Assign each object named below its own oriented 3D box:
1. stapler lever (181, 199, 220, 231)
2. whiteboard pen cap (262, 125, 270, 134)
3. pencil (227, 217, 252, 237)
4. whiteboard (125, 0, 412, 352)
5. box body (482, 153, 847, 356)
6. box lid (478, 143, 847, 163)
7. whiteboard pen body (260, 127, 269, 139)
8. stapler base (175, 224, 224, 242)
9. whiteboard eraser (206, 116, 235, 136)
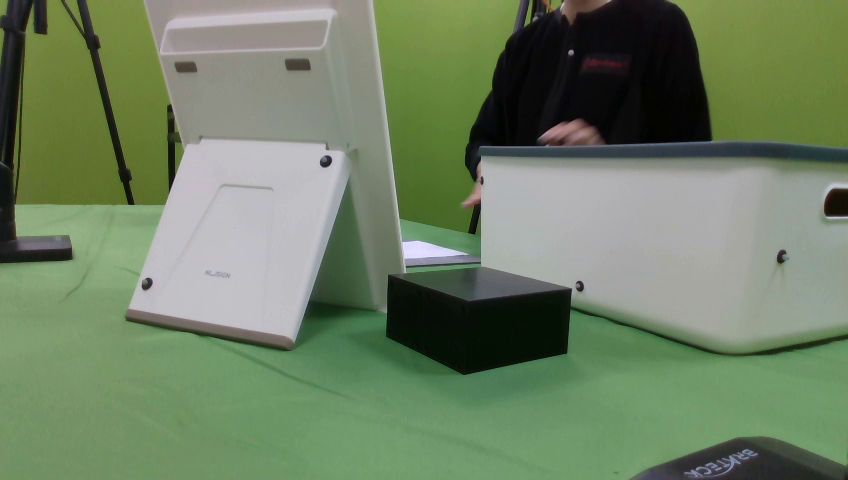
[{"bbox_3d":[-0.346,-0.040,0.942,0.027,0.040,0.118,1,8,-3],"label":"stapler lever"},{"bbox_3d":[-0.349,-0.244,1.337,0.018,0.018,0.033,0,2,-17],"label":"whiteboard pen cap"},{"bbox_3d":[-0.333,-0.024,1.092,0.012,0.012,0.193,2,10,-5],"label":"pencil"},{"bbox_3d":[-0.151,-0.049,0.472,0.216,0.305,0.144,6,27,24],"label":"whiteboard"},{"bbox_3d":[0.252,-0.011,0.639,0.255,0.160,0.362,-1,8,-30],"label":"box body"},{"bbox_3d":[0.256,-0.084,0.628,0.265,0.015,0.369,-2,8,-29],"label":"box lid"},{"bbox_3d":[-0.366,-0.247,1.392,0.017,0.017,0.140,0,3,-17],"label":"whiteboard pen body"},{"bbox_3d":[-0.348,-0.014,0.947,0.041,0.024,0.130,1,7,-3],"label":"stapler base"},{"bbox_3d":[-0.450,-0.252,1.335,0.056,0.042,0.112,1,7,-22],"label":"whiteboard eraser"}]
